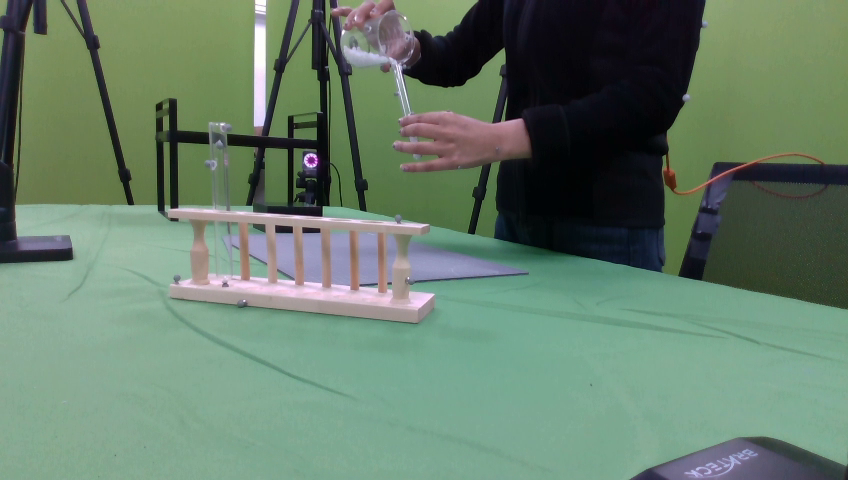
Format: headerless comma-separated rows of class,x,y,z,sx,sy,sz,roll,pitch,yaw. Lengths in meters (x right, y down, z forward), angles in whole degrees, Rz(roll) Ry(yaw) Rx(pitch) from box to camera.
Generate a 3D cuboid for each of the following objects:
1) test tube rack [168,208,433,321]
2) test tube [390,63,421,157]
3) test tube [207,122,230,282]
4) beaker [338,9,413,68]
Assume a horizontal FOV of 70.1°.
test tube rack,-0.116,0.018,0.574,0.242,0.085,0.067,4,8,13
test tube,-0.027,-0.193,0.896,0.017,0.150,0.017,-13,-10,-2
test tube,-0.192,-0.034,0.564,0.017,0.150,0.017,2,11,0
beaker,-0.077,-0.304,0.936,0.074,0.084,0.100,-10,12,-44
